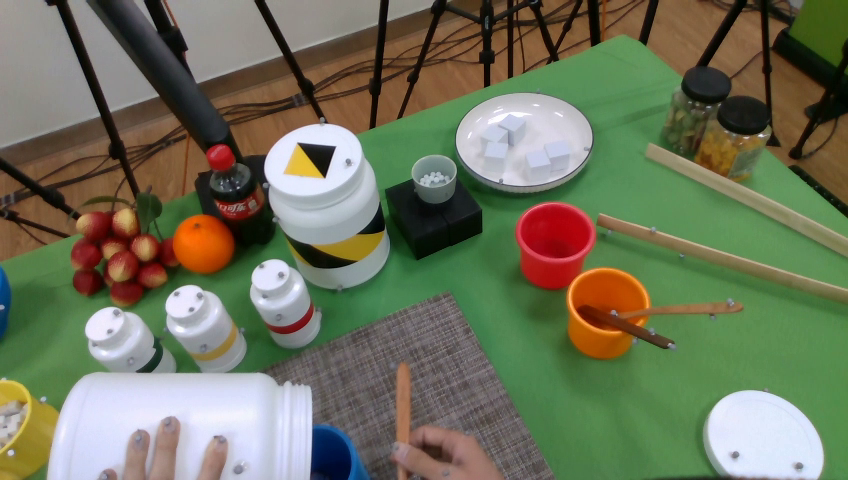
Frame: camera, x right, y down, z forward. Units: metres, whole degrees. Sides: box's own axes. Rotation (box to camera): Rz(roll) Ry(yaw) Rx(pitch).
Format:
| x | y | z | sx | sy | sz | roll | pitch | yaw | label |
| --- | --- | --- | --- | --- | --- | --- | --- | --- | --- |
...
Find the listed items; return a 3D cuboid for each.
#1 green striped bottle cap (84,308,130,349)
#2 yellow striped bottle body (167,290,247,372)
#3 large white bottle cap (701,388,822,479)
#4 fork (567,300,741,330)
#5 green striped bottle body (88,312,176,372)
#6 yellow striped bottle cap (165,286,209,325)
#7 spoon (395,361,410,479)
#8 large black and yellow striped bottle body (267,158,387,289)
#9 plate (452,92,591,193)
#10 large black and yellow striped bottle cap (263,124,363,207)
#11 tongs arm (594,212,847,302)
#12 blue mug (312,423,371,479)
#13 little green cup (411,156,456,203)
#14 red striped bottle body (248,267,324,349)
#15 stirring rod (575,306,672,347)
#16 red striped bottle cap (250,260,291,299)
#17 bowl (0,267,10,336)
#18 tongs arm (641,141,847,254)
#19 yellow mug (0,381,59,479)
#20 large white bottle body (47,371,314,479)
| x | y | z | sx | sy | sz | roll | pitch | yaw | label |
| --- | --- | --- | --- | --- | --- | --- | --- | --- | --- |
| -0.349 | 0.097 | 0.667 | 0.044 | 0.020 | 0.044 | -2 | 51 | 3 | green striped bottle cap |
| -0.260 | 0.104 | 0.719 | 0.063 | 0.121 | 0.062 | -3 | 52 | 4 | yellow striped bottle body |
| 0.354 | 0.211 | 0.639 | 0.115 | 0.018 | 0.113 | -3 | 52 | 4 | large white bottle cap |
| 0.243 | 0.081 | 0.667 | 0.206 | 0.019 | 0.028 | -19 | 32 | 52 | fork |
| -0.343 | 0.129 | 0.708 | 0.063 | 0.120 | 0.062 | -2 | 52 | 3 | green striped bottle body |
| -0.265 | 0.073 | 0.677 | 0.044 | 0.019 | 0.044 | -1 | 47 | 2 | yellow striped bottle cap |
| -0.017 | 0.203 | 0.529 | 0.041 | 0.022 | 0.192 | -2 | 75 | 4 | spoon |
| -0.123 | -0.036 | 0.773 | 0.131 | 0.186 | 0.129 | -3 | 52 | 4 | large black and yellow striped bottle body |
| 0.146 | -0.146 | 0.924 | 0.209 | 0.038 | 0.207 | -2 | 53 | 4 | plate |
| -0.129 | -0.088 | 0.705 | 0.115 | 0.019 | 0.114 | -4 | 54 | 6 | large black and yellow striped bottle cap |
| 0.411 | 0.019 | 0.770 | 0.382 | 0.027 | 0.050 | 21 | 53 | 20 | tongs arm |
| -0.108 | 0.251 | 0.593 | 0.082 | 0.107 | 0.116 | 28 | 60 | 25 | blue mug |
| 0.013 | -0.081 | 0.822 | 0.061 | 0.039 | 0.061 | -2 | 49 | 3 | little green cup |
| -0.169 | 0.077 | 0.731 | 0.063 | 0.121 | 0.062 | -7 | 51 | 9 | red striped bottle body |
| 0.214 | 0.093 | 0.670 | 0.014 | 0.006 | 0.175 | -19 | 10 | -12 | stirring rod |
| -0.175 | 0.044 | 0.690 | 0.044 | 0.018 | 0.044 | -1 | 49 | 1 | red striped bottle cap |
| -0.603 | 0.097 | 0.786 | 0.151 | 0.077 | 0.150 | -2 | 52 | 3 | bowl |
| 0.463 | -0.040 | 0.815 | 0.384 | 0.028 | 0.028 | 36 | 56 | 28 | tongs arm |
| -0.476 | 0.230 | 0.678 | 0.100 | 0.064 | 0.129 | -14 | 53 | -5 | yellow mug |
| -0.188 | 0.175 | 0.501 | 0.185 | 0.131 | 0.129 | 4 | 50 | -15 | large white bottle body |
